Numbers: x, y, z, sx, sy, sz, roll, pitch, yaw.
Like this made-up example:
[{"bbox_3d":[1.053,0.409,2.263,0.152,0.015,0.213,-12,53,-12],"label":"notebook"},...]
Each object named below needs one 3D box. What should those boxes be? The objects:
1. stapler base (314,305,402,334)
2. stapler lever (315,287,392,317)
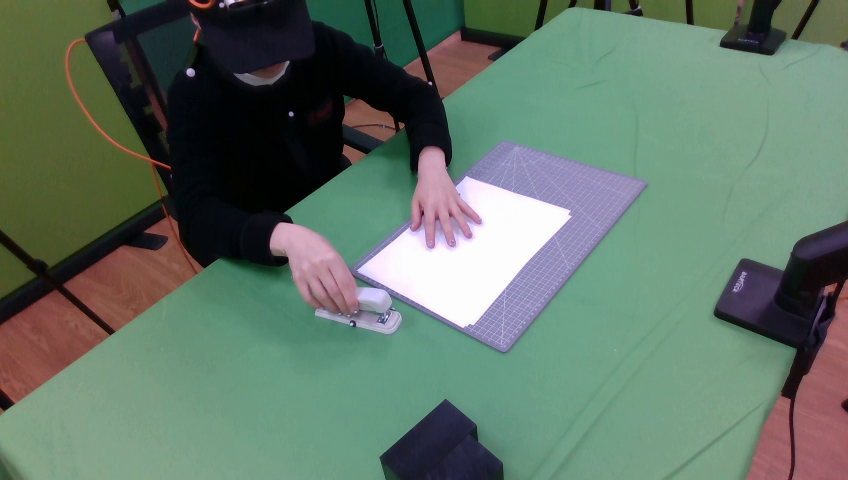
[{"bbox_3d":[-0.096,0.102,0.868,0.130,0.024,0.041,10,42,21],"label":"stapler base"},{"bbox_3d":[-0.101,0.083,0.852,0.117,0.040,0.027,9,42,22],"label":"stapler lever"}]
